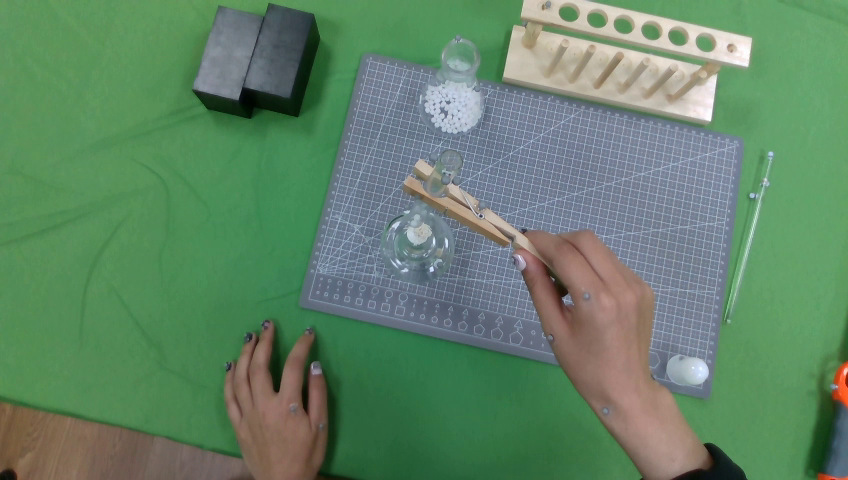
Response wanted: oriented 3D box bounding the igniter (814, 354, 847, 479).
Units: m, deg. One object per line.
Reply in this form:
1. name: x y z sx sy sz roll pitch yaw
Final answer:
1. igniter: 0.471 0.130 0.653 0.057 0.025 0.275 23 80 -9

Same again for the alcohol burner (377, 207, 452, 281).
1. alcohol burner: -0.009 0.001 0.606 0.078 0.119 0.077 0 78 -1

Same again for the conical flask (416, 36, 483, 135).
1. conical flask: 0.030 -0.164 0.631 0.075 0.122 0.075 0 80 -2

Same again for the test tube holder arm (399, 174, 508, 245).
1. test tube holder arm: 0.022 -0.021 0.438 0.088 0.015 0.010 28 77 -2

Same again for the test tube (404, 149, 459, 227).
1. test tube: 0.003 -0.034 0.452 0.017 0.150 0.017 2 77 -10

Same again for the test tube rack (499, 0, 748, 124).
1. test tube rack: 0.213 -0.199 0.668 0.242 0.085 0.066 12 80 -1

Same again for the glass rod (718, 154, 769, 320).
1. glass rod: 0.359 -0.005 0.680 0.008 0.008 0.199 19 82 1

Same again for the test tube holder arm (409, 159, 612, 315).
1. test tube holder arm: 0.063 -0.002 0.440 0.178 0.015 0.013 35 78 -1

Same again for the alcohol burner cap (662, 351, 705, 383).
1. alcohol burner cap: 0.274 0.133 0.633 0.034 0.048 0.033 0 79 -2
